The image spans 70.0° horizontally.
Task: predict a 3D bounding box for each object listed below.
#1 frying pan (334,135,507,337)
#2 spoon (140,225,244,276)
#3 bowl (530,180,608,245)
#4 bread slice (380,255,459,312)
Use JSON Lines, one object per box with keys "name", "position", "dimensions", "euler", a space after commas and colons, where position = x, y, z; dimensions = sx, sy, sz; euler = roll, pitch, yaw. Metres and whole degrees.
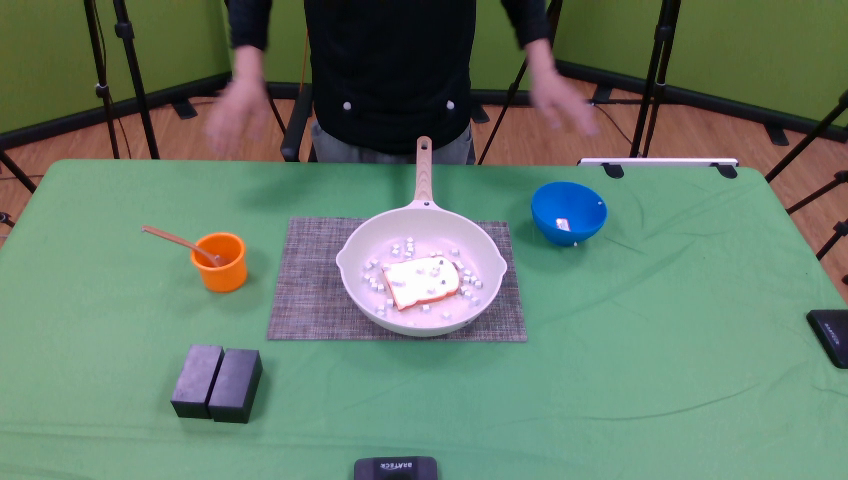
{"name": "frying pan", "position": [-0.004, -0.026, 1.160], "dimensions": [0.307, 0.103, 0.485], "euler": [4, 55, -2]}
{"name": "spoon", "position": [-0.402, 0.016, 1.063], "dimensions": [0.021, 0.195, 0.041], "euler": [-38, 40, 21]}
{"name": "bowl", "position": [0.284, -0.044, 1.222], "dimensions": [0.151, 0.077, 0.150], "euler": [2, 46, -2]}
{"name": "bread slice", "position": [-0.005, 0.074, 1.119], "dimensions": [0.134, 0.018, 0.106], "euler": [-16, 49, -16]}
